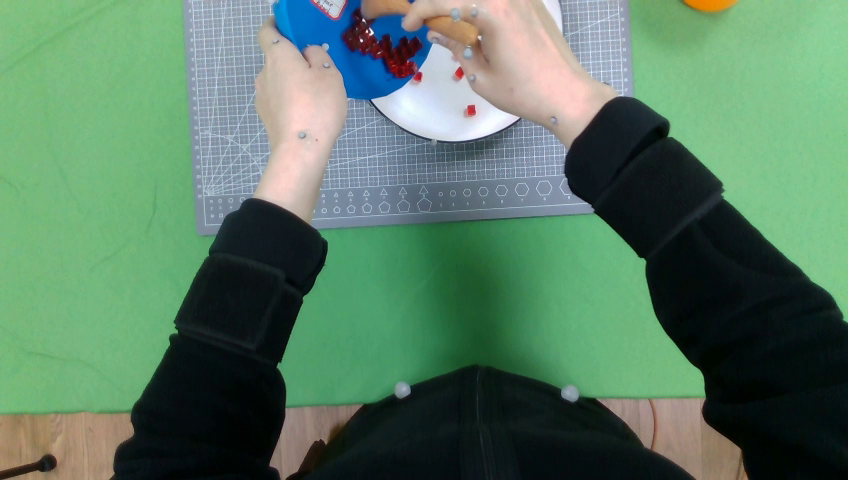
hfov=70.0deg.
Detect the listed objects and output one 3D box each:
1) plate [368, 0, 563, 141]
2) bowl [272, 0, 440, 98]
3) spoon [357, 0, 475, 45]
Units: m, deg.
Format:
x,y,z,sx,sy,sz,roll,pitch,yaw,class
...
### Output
x,y,z,sx,sy,sz,roll,pitch,yaw,class
0.030,-0.199,0.594,0.209,0.038,0.209,0,91,3,plate
-0.068,-0.200,0.504,0.076,0.153,0.151,27,92,44,bowl
-0.009,-0.166,0.437,0.022,0.191,0.041,21,105,-39,spoon
